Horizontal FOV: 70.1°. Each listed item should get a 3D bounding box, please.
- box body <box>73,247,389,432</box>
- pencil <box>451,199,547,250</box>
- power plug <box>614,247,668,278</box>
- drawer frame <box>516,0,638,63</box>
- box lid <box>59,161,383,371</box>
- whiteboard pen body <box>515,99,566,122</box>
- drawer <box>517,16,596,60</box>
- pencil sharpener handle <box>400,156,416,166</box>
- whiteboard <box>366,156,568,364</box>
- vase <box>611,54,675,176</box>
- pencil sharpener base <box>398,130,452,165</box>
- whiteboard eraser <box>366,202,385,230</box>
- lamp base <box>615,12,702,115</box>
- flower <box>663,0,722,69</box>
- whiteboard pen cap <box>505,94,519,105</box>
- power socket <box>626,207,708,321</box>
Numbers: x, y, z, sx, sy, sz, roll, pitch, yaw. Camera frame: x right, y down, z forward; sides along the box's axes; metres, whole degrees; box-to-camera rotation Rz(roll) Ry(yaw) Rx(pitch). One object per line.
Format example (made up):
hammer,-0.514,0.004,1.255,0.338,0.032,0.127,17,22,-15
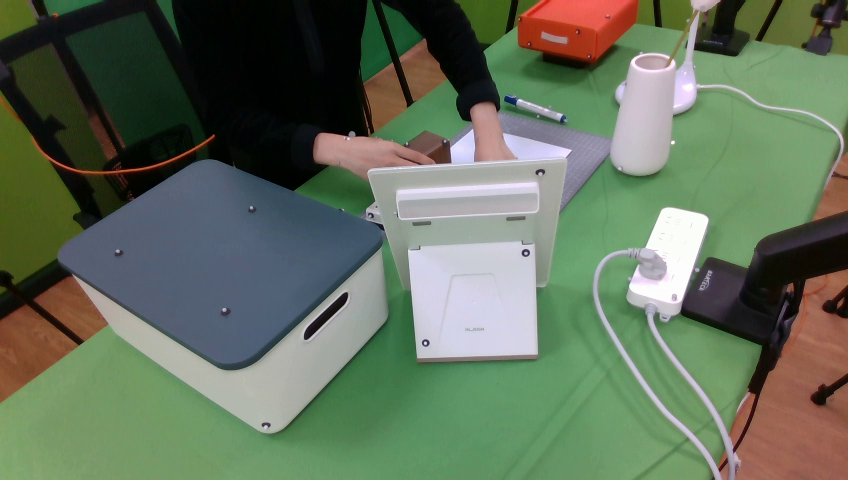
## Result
box body,-0.255,0.065,0.827,0.361,0.161,0.255,21,48,29
pencil,0.125,-0.024,0.994,0.195,0.012,0.012,-26,44,-19
power plug,0.306,0.031,0.851,0.072,0.053,0.035,24,49,33
drawer frame,0.355,-0.508,1.410,0.200,0.083,0.214,23,51,32
box lid,-0.262,0.009,0.777,0.369,0.015,0.264,21,48,29
whiteboard pen body,0.233,-0.274,1.262,0.139,0.017,0.017,28,51,29
drawer,0.352,-0.506,1.405,0.193,0.073,0.212,23,49,32
pencil sharpener handle,-0.030,-0.104,1.013,0.035,0.068,0.031,18,46,43
whiteboard,0.059,0.050,0.738,0.217,0.307,0.143,-2,60,6
vase,0.377,-0.209,1.031,0.098,0.201,0.097,-3,40,3
pencil sharpener base,0.004,-0.123,1.049,0.061,0.107,0.077,28,52,34
whiteboard eraser,-0.038,-0.038,1.006,0.112,0.042,0.055,16,47,25
lamp base,0.484,-0.364,1.211,0.180,0.181,0.159,-15,41,-14
flower,0.379,-0.261,0.965,0.044,0.362,0.038,20,53,5
whiteboard pen cap,0.190,-0.299,1.292,0.033,0.018,0.018,30,52,28
power socket,0.359,0.025,0.886,0.072,0.033,0.227,16,46,26
